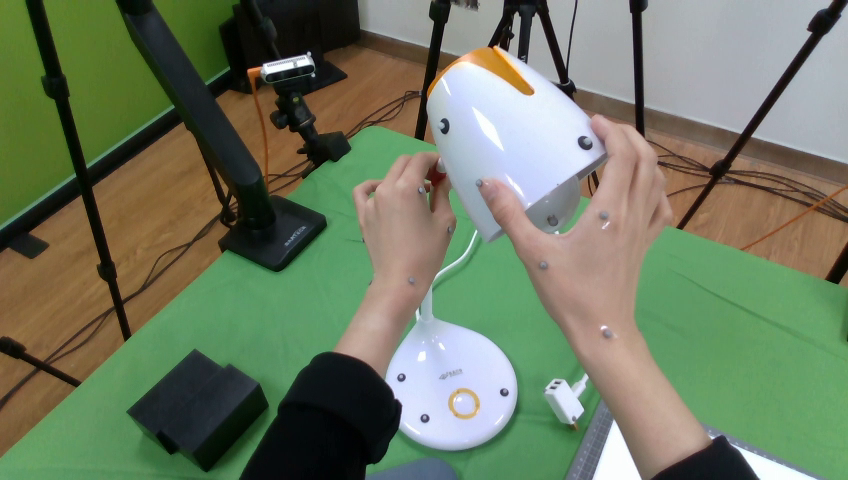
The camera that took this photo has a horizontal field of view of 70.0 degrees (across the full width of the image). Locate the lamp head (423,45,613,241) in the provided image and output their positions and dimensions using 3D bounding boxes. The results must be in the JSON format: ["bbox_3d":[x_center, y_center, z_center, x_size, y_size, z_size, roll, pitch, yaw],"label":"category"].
[{"bbox_3d":[0.054,-0.074,0.438,0.112,0.113,0.122,-33,78,-25],"label":"lamp head"}]

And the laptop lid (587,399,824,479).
[{"bbox_3d":[0.322,0.314,0.573,0.354,0.013,0.240,21,54,21],"label":"laptop lid"}]

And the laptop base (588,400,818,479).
[{"bbox_3d":[0.324,0.321,0.583,0.352,0.023,0.234,20,54,20],"label":"laptop base"}]

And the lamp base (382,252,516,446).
[{"bbox_3d":[0.020,0.112,0.680,0.161,0.182,0.177,-25,48,-20],"label":"lamp base"}]

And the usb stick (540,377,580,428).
[{"bbox_3d":[0.160,0.188,0.695,0.027,0.059,0.021,-35,11,-31],"label":"usb stick"}]

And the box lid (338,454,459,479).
[{"bbox_3d":[-0.048,0.389,0.540,0.264,0.015,0.367,-14,49,-10],"label":"box lid"}]

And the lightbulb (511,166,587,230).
[{"bbox_3d":[0.079,-0.060,0.424,0.059,0.059,0.107,-11,88,-8],"label":"lightbulb"}]
